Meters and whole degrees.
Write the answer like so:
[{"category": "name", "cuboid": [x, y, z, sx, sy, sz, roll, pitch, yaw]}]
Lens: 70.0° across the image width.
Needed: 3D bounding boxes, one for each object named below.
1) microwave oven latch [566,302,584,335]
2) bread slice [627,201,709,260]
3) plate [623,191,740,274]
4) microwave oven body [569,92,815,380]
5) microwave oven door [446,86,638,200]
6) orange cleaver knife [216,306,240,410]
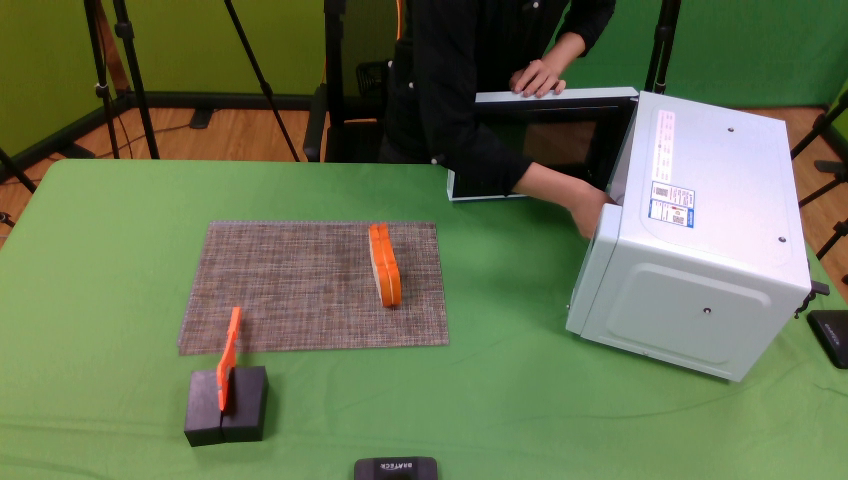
[{"category": "microwave oven latch", "cuboid": [0.268, 0.127, 1.059, 0.030, 0.029, 0.079, 16, 46, 12]}, {"category": "bread slice", "cuboid": [0.474, -0.025, 1.166, 0.134, 0.018, 0.106, -26, 52, -13]}, {"category": "plate", "cuboid": [0.480, -0.011, 1.143, 0.208, 0.039, 0.206, 0, 46, 0]}, {"category": "microwave oven body", "cuboid": [0.468, -0.021, 1.082, 0.325, 0.261, 0.440, 15, 46, 11]}, {"category": "microwave oven door", "cuboid": [0.230, -0.193, 1.222, 0.356, 0.245, 0.039, -4, 46, -8]}, {"category": "orange cleaver knife", "cuboid": [-0.307, 0.180, 0.957, 0.012, 0.077, 0.210, -2, 25, -8]}]
